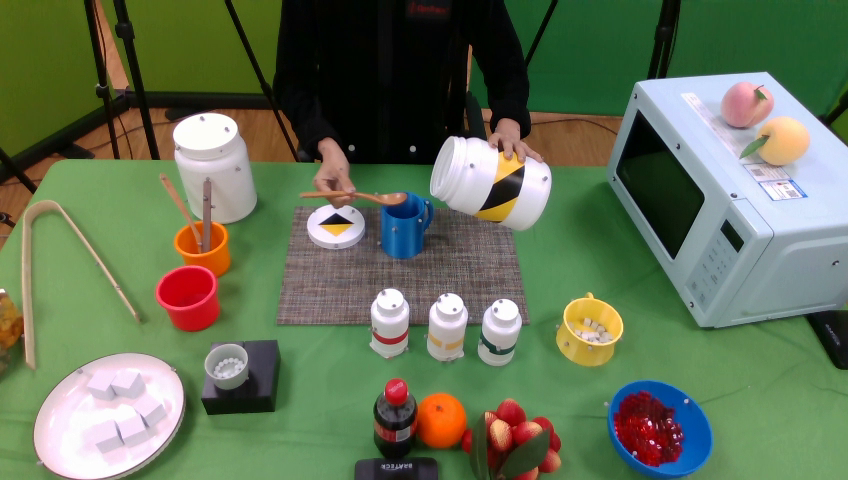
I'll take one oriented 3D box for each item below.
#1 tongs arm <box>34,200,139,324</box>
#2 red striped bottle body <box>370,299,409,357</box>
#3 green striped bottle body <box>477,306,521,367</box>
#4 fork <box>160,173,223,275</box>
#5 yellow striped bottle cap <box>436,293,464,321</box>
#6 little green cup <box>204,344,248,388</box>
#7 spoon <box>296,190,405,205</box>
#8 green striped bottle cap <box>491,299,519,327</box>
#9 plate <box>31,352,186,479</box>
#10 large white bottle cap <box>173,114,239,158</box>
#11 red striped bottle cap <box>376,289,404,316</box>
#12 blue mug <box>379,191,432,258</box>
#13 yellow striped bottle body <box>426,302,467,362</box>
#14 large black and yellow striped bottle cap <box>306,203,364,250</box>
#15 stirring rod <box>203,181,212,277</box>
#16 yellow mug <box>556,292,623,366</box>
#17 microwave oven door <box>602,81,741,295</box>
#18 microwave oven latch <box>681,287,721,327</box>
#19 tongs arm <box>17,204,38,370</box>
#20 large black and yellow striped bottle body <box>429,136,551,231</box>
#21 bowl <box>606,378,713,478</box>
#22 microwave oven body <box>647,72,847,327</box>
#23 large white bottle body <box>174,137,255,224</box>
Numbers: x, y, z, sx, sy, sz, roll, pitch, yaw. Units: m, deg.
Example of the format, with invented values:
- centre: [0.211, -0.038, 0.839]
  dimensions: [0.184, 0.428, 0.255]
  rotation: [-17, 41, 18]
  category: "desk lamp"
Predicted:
- centre: [-0.622, 0.034, 1.105]
  dimensions: [0.051, 0.026, 0.382]
  rotation: [-32, 56, -26]
  category: "tongs arm"
- centre: [-0.057, 0.135, 0.996]
  dimensions: [0.063, 0.120, 0.062]
  rotation: [2, 47, -2]
  category: "red striped bottle body"
- centre: [0.124, 0.151, 0.995]
  dimensions: [0.063, 0.120, 0.063]
  rotation: [2, 46, -2]
  category: "green striped bottle body"
- centre: [-0.426, -0.030, 1.103]
  dimensions: [0.028, 0.018, 0.207]
  rotation: [-30, 99, -22]
  category: "fork"
- centre: [0.041, 0.106, 0.959]
  dimensions: [0.044, 0.019, 0.044]
  rotation: [-1, 50, 1]
  category: "yellow striped bottle cap"
- centre: [-0.294, 0.191, 0.909]
  dimensions: [0.061, 0.039, 0.061]
  rotation: [1, 48, -1]
  category: "little green cup"
- centre: [-0.128, -0.079, 1.072]
  dimensions: [0.194, 0.022, 0.041]
  rotation: [3, 32, -19]
  category: "spoon"
- centre: [0.128, 0.115, 0.958]
  dimensions: [0.044, 0.020, 0.044]
  rotation: [1, 47, -1]
  category: "green striped bottle cap"
- centre: [-0.459, 0.262, 0.898]
  dimensions: [0.209, 0.038, 0.208]
  rotation: [2, 46, -2]
  category: "plate"
- centre: [-0.403, -0.195, 1.122]
  dimensions: [0.115, 0.018, 0.114]
  rotation: [2, 47, -2]
  category: "large white bottle cap"
- centre: [-0.055, 0.098, 0.958]
  dimensions: [0.044, 0.018, 0.044]
  rotation: [0, 48, 0]
  category: "red striped bottle cap"
- centre: [-0.031, -0.036, 1.167]
  dimensions: [0.116, 0.106, 0.082]
  rotation: [-27, 54, -27]
  category: "blue mug"
- centre: [0.037, 0.142, 0.996]
  dimensions: [0.063, 0.121, 0.062]
  rotation: [2, 46, -2]
  category: "yellow striped bottle body"
- centre: [-0.178, -0.029, 1.211]
  dimensions: [0.115, 0.019, 0.114]
  rotation: [2, 48, -2]
  category: "large black and yellow striped bottle cap"
- centre: [-0.396, -0.021, 1.108]
  dimensions: [0.014, 0.006, 0.176]
  rotation: [-1, 89, -1]
  category: "stirring rod"
- centre: [0.285, 0.145, 1.051]
  dimensions: [0.100, 0.064, 0.130]
  rotation: [7, 45, 3]
  category: "yellow mug"
- centre: [0.456, -0.107, 1.162]
  dimensions: [0.039, 0.245, 0.353]
  rotation: [-6, 47, -11]
  category: "microwave oven door"
- centre: [0.494, 0.119, 1.087]
  dimensions: [0.030, 0.029, 0.078]
  rotation: [-6, 46, -9]
  category: "microwave oven latch"
- centre: [-0.698, 0.069, 1.068]
  dimensions: [0.028, 0.028, 0.385]
  rotation: [-20, 50, -13]
  category: "tongs arm"
- centre: [0.112, -0.101, 1.058]
  dimensions: [0.184, 0.131, 0.130]
  rotation: [17, 44, -16]
  category: "large black and yellow striped bottle body"
- centre: [0.340, 0.292, 0.906]
  dimensions: [0.151, 0.077, 0.150]
  rotation: [2, 46, -2]
  category: "bowl"
- centre: [0.607, -0.089, 1.164]
  dimensions: [0.326, 0.261, 0.438]
  rotation: [-7, 46, -10]
  category: "microwave oven body"
- centre: [-0.408, -0.136, 1.183]
  dimensions: [0.131, 0.185, 0.130]
  rotation: [2, 46, -2]
  category: "large white bottle body"
